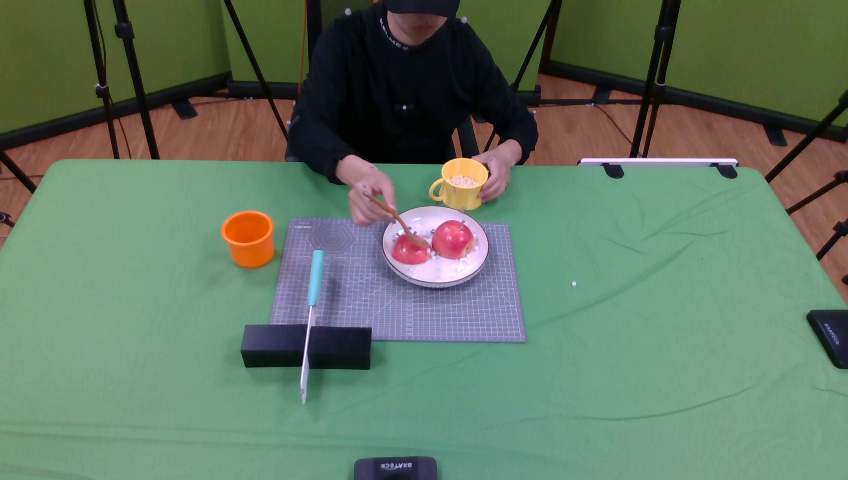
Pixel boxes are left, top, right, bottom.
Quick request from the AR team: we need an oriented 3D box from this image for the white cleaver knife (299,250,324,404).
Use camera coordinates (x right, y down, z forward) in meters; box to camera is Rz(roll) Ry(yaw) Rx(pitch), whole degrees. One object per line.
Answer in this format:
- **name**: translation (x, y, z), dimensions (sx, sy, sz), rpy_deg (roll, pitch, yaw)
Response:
- **white cleaver knife**: translation (-0.194, 0.134, 1.019), dimensions (0.021, 0.066, 0.284), rpy_deg (5, 50, -5)

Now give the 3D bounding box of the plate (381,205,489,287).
- **plate**: translation (0.021, 0.015, 1.170), dimensions (0.209, 0.038, 0.208), rpy_deg (2, 46, -2)

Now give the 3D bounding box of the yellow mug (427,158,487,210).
- **yellow mug**: translation (0.067, -0.116, 1.284), dimensions (0.131, 0.064, 0.099), rpy_deg (-17, 49, -18)

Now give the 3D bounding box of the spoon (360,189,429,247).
- **spoon**: translation (-0.051, -0.038, 1.069), dimensions (0.021, 0.195, 0.041), rpy_deg (-45, 43, -1)

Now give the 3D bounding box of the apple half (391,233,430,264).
- **apple half**: translation (-0.024, 0.009, 1.163), dimensions (0.081, 0.033, 0.081), rpy_deg (2, 44, -2)

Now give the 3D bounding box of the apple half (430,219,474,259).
- **apple half**: translation (0.056, -0.007, 1.172), dimensions (0.081, 0.053, 0.074), rpy_deg (-33, 59, -31)
